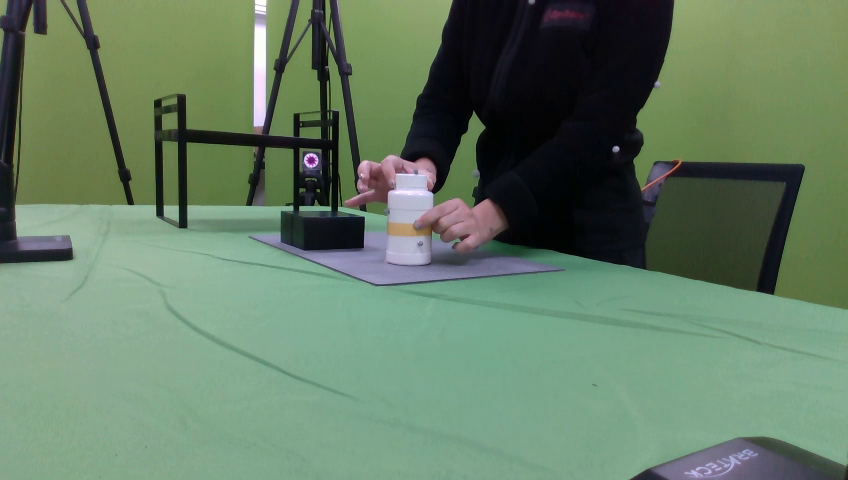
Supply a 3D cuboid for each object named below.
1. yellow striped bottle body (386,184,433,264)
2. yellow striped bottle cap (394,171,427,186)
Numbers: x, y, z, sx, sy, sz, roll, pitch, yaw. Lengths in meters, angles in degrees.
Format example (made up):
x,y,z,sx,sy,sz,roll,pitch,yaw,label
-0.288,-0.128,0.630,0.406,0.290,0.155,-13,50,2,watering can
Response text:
x,y,z,sx,sy,sz,roll,pitch,yaw,label
-0.019,-0.031,0.813,0.063,0.120,0.063,1,8,0,yellow striped bottle body
-0.018,-0.082,0.807,0.044,0.018,0.044,1,9,0,yellow striped bottle cap
